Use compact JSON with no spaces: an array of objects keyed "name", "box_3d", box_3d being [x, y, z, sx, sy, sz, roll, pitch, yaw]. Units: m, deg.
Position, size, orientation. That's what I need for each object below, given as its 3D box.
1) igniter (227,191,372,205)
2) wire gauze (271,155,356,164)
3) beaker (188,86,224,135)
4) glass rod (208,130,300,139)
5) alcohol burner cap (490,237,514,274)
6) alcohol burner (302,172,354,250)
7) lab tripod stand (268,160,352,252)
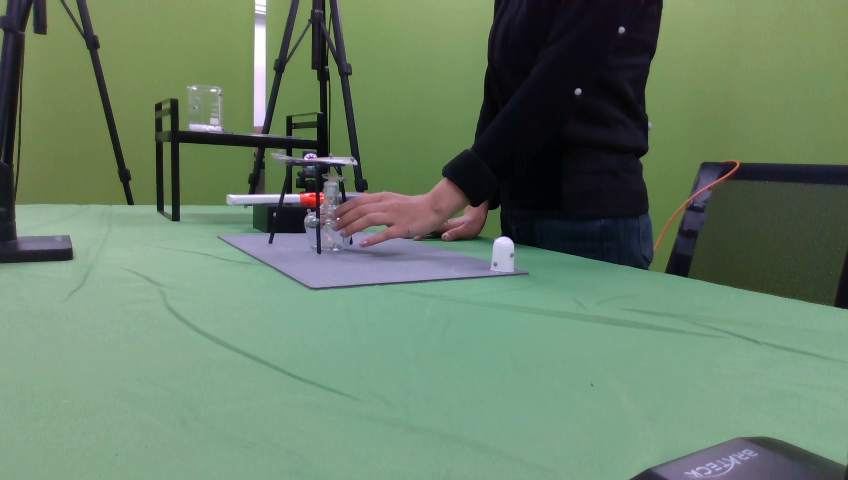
[{"name":"igniter","box_3d":[-0.232,-0.080,1.161,0.278,0.025,0.057,-3,12,-29]},{"name":"wire gauze","box_3d":[-0.167,-0.122,0.917,0.125,0.011,0.121,0,8,-9]},{"name":"beaker","box_3d":[-0.474,-0.280,1.311,0.074,0.100,0.084,5,8,25]},{"name":"glass rod","box_3d":[-0.367,-0.231,1.321,0.201,0.008,0.008,-1,8,-30]},{"name":"alcohol burner cap","box_3d":[0.104,0.020,0.793,0.034,0.048,0.034,3,6,0]},{"name":"alcohol burner","box_3d":[-0.145,-0.044,0.917,0.078,0.119,0.078,5,6,0]},{"name":"lab tripod stand","box_3d":[-0.171,-0.055,0.921,0.148,0.131,0.148,1,8,0]}]
